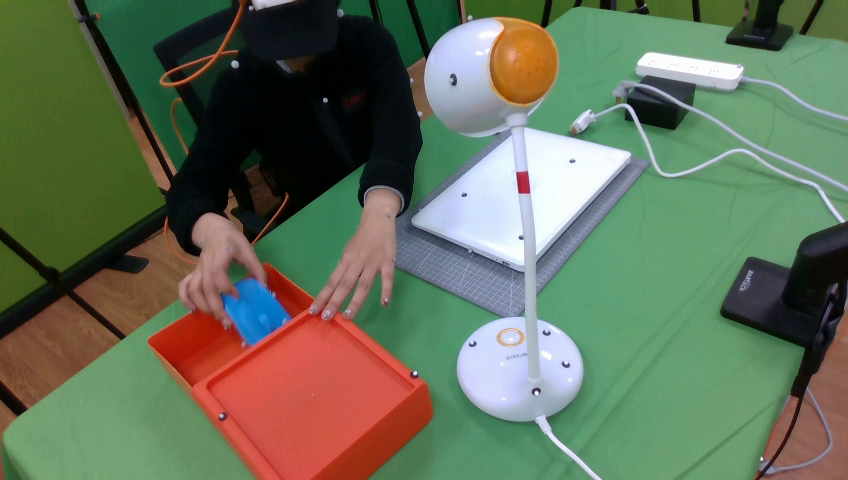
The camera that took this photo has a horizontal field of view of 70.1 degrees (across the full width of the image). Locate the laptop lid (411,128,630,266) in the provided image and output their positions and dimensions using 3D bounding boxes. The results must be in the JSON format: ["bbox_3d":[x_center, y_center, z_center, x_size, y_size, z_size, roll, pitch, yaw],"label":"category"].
[{"bbox_3d":[0.172,-0.093,1.049,0.239,0.013,0.358,23,50,36],"label":"laptop lid"}]

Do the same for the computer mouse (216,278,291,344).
[{"bbox_3d":[-0.229,0.099,0.826,0.063,0.041,0.116,-34,63,-31],"label":"computer mouse"}]

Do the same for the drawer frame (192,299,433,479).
[{"bbox_3d":[-0.134,0.195,0.734,0.202,0.083,0.211,-35,47,-29],"label":"drawer frame"}]

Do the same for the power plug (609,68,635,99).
[{"bbox_3d":[0.405,-0.322,1.234,0.035,0.072,0.052,6,33,-34],"label":"power plug"}]

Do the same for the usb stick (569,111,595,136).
[{"bbox_3d":[0.309,-0.227,1.189,0.059,0.021,0.027,-44,13,-19],"label":"usb stick"}]

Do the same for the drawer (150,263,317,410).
[{"bbox_3d":[-0.223,0.147,0.814,0.210,0.073,0.195,29,52,36],"label":"drawer"}]

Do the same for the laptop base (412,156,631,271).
[{"bbox_3d":[0.176,-0.084,1.055,0.233,0.023,0.355,21,48,36],"label":"laptop base"}]

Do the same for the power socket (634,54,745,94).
[{"bbox_3d":[0.563,-0.358,1.295,0.225,0.033,0.072,21,49,31],"label":"power socket"}]

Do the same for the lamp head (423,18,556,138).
[{"bbox_3d":[0.069,-0.151,0.563,0.113,0.113,0.122,-21,18,-13],"label":"lamp head"}]

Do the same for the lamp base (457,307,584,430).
[{"bbox_3d":[0.115,0.108,0.713,0.161,0.181,0.178,-16,43,-8],"label":"lamp base"}]
